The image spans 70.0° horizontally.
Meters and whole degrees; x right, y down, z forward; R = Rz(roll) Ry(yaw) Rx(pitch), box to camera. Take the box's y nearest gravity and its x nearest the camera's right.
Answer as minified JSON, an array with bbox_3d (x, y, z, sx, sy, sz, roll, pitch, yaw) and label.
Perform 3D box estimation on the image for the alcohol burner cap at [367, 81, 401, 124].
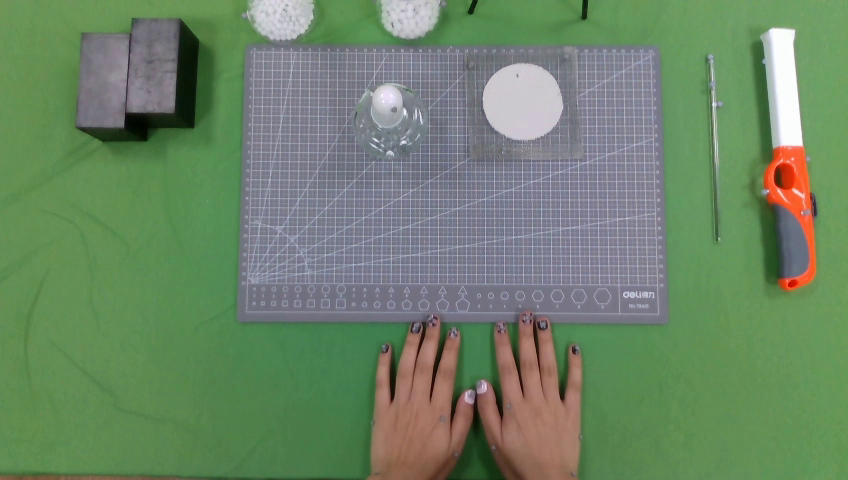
[{"bbox_3d":[-0.036,-0.130,0.561,0.034,0.048,0.034,1,85,-6],"label":"alcohol burner cap"}]

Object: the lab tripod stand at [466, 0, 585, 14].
[{"bbox_3d":[0.111,-0.292,0.605,0.148,0.131,0.148,0,86,1],"label":"lab tripod stand"}]

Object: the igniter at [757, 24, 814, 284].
[{"bbox_3d":[0.379,-0.092,0.639,0.057,0.025,0.276,-1,85,-10],"label":"igniter"}]

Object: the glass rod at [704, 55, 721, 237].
[{"bbox_3d":[0.309,-0.103,0.649,0.008,0.008,0.199,-1,84,0],"label":"glass rod"}]

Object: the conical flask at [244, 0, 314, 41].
[{"bbox_3d":[-0.157,-0.259,0.607,0.075,0.122,0.075,0,84,0],"label":"conical flask"}]

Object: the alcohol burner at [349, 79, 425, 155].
[{"bbox_3d":[-0.037,-0.126,0.597,0.078,0.119,0.078,0,86,-1],"label":"alcohol burner"}]

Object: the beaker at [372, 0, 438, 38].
[{"bbox_3d":[-0.018,-0.257,0.619,0.084,0.100,0.074,36,86,3],"label":"beaker"}]

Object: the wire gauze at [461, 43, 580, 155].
[{"bbox_3d":[0.104,-0.150,0.652,0.125,0.011,0.121,-2,85,-2],"label":"wire gauze"}]
